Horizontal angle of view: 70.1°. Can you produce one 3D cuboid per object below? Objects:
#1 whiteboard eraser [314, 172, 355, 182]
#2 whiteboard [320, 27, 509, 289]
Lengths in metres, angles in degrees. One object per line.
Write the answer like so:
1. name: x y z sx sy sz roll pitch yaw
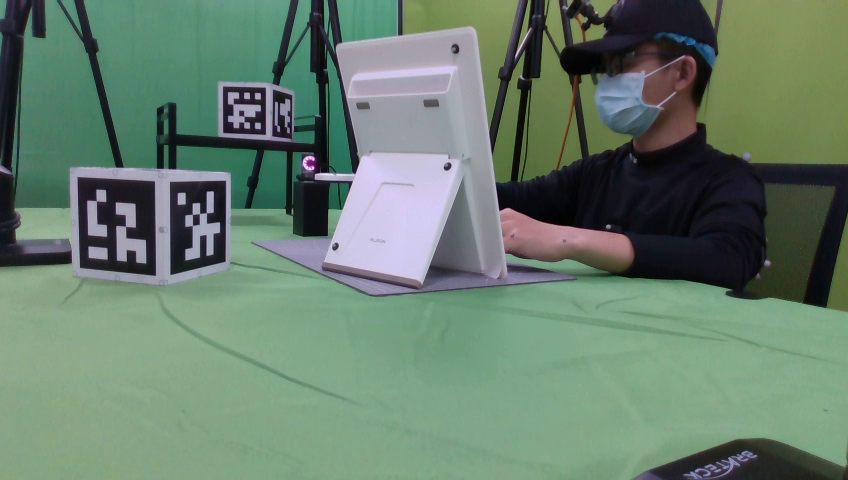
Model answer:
1. whiteboard eraser: -0.162 -0.120 1.158 0.102 0.019 0.041 -1 6 -33
2. whiteboard: -0.045 -0.076 0.721 0.216 0.305 0.144 9 29 38
